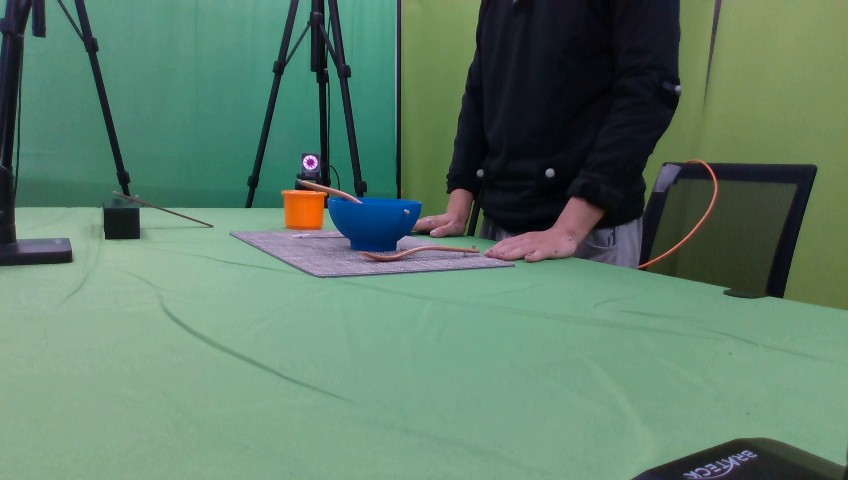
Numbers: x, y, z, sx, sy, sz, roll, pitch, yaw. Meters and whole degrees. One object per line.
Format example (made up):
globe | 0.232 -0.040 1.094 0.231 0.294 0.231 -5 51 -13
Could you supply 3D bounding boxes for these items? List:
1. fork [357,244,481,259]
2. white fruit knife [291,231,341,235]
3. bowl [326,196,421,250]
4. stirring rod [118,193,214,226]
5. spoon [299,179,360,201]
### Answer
fork | -0.001 0.016 0.877 0.208 0.018 0.028 -4 0 -33
white fruit knife | -0.139 -0.015 1.092 0.208 0.016 0.027 -3 -2 -30
bowl | -0.080 -0.027 0.957 0.151 0.077 0.151 2 7 0
stirring rod | -0.484 -0.056 1.142 0.177 0.006 0.014 21 -6 -28
spoon | -0.124 -0.068 0.993 0.193 0.021 0.042 25 9 17
